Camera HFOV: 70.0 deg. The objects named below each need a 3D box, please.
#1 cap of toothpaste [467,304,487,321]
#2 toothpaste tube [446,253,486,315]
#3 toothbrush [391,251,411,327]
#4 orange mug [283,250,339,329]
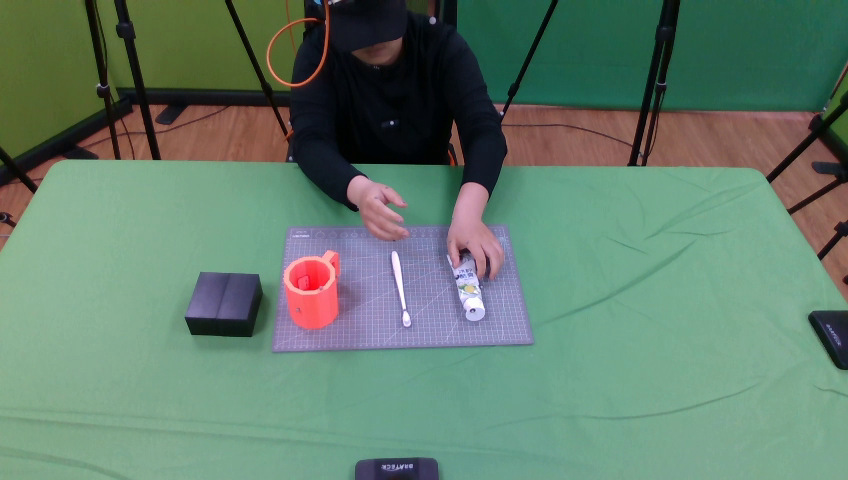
[{"bbox_3d":[0.093,0.126,1.062,0.037,0.037,0.011,-2,38,-5],"label":"cap of toothpaste"},{"bbox_3d":[0.084,0.078,1.122,0.055,0.034,0.164,0,39,-12],"label":"toothpaste tube"},{"bbox_3d":[-0.044,0.085,1.112,0.014,0.017,0.180,-15,46,1],"label":"toothbrush"},{"bbox_3d":[-0.186,0.078,1.052,0.083,0.101,0.126,20,52,15],"label":"orange mug"}]
